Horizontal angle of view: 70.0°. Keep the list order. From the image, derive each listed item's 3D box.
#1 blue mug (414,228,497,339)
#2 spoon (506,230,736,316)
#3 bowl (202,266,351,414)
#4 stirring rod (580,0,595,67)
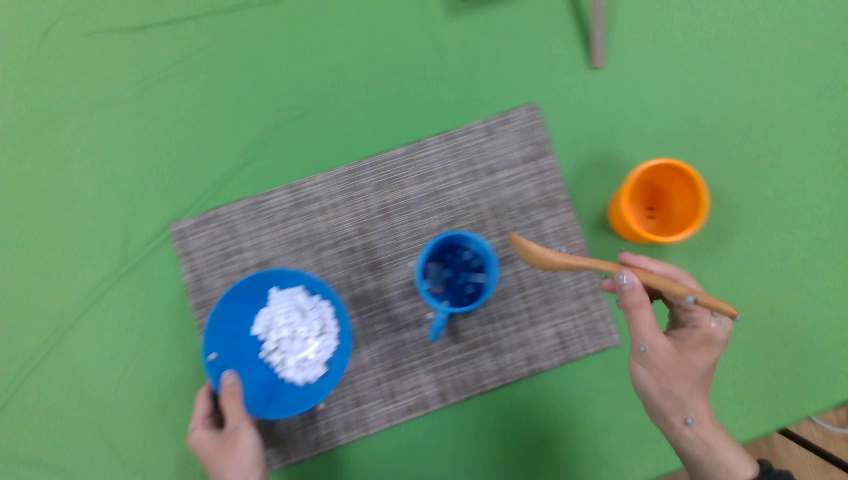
[{"bbox_3d":[0.026,0.050,0.644,0.082,0.106,0.116,19,84,2],"label":"blue mug"},{"bbox_3d":[0.139,0.022,0.464,0.192,0.042,0.021,15,62,41],"label":"spoon"},{"bbox_3d":[-0.149,0.105,0.650,0.151,0.077,0.151,0,84,-1],"label":"bowl"},{"bbox_3d":[0.187,-0.292,0.702,0.014,0.006,0.177,-10,106,-7],"label":"stirring rod"}]
